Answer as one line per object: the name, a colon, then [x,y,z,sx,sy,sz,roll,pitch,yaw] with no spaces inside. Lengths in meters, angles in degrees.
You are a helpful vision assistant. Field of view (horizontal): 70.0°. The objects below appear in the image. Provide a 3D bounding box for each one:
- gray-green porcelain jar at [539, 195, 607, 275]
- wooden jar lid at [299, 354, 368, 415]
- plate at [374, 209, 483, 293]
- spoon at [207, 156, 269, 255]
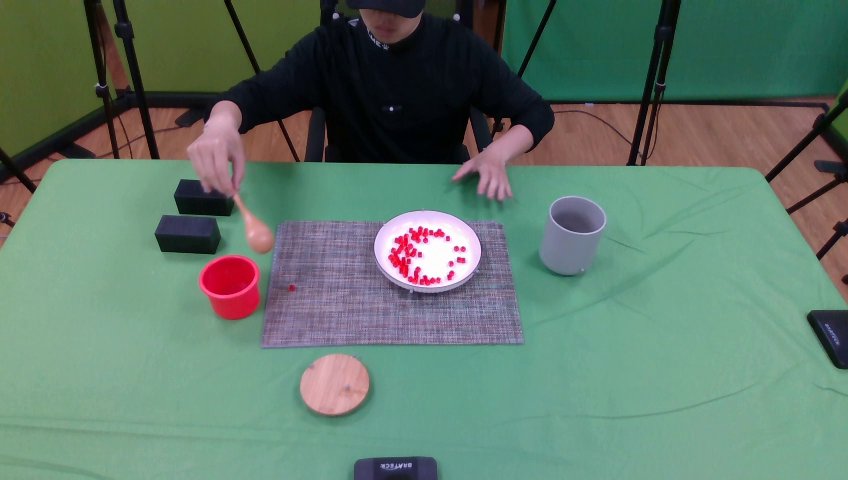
gray-green porcelain jar: [0.278,-0.004,1.148,0.106,0.127,0.105,2,46,-2]
wooden jar lid: [-0.143,0.232,0.964,0.108,0.021,0.107,2,45,-2]
plate: [0.008,0.024,1.158,0.208,0.039,0.206,2,46,-2]
spoon: [-0.315,-0.059,1.012,0.193,0.021,0.041,54,20,6]
